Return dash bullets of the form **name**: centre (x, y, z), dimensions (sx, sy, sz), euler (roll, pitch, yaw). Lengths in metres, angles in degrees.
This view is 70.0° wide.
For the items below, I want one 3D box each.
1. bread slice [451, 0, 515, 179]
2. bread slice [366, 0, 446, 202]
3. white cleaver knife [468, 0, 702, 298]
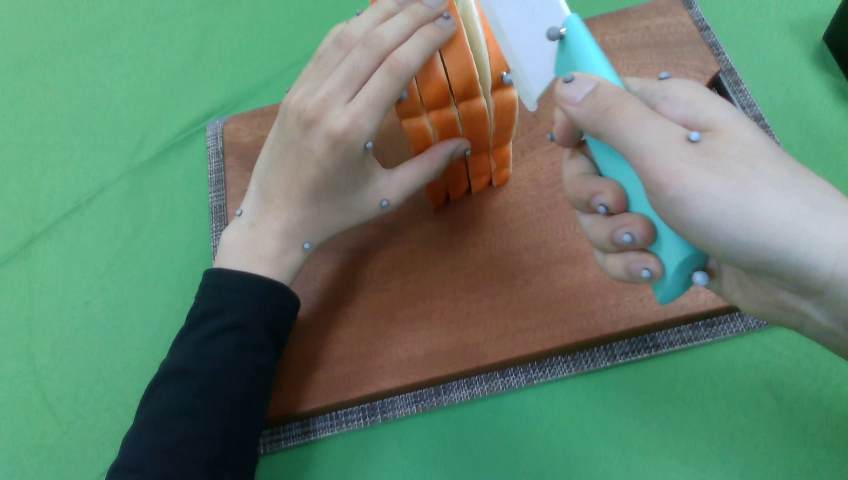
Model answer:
- **bread slice**: centre (0.039, -0.119, 0.415), dimensions (0.019, 0.132, 0.104), euler (-14, 63, -2)
- **bread slice**: centre (-0.012, -0.106, 0.417), dimensions (0.018, 0.135, 0.106), euler (-17, 59, 4)
- **white cleaver knife**: centre (0.054, -0.104, 0.298), dimensions (0.021, 0.066, 0.285), euler (-19, 77, -19)
